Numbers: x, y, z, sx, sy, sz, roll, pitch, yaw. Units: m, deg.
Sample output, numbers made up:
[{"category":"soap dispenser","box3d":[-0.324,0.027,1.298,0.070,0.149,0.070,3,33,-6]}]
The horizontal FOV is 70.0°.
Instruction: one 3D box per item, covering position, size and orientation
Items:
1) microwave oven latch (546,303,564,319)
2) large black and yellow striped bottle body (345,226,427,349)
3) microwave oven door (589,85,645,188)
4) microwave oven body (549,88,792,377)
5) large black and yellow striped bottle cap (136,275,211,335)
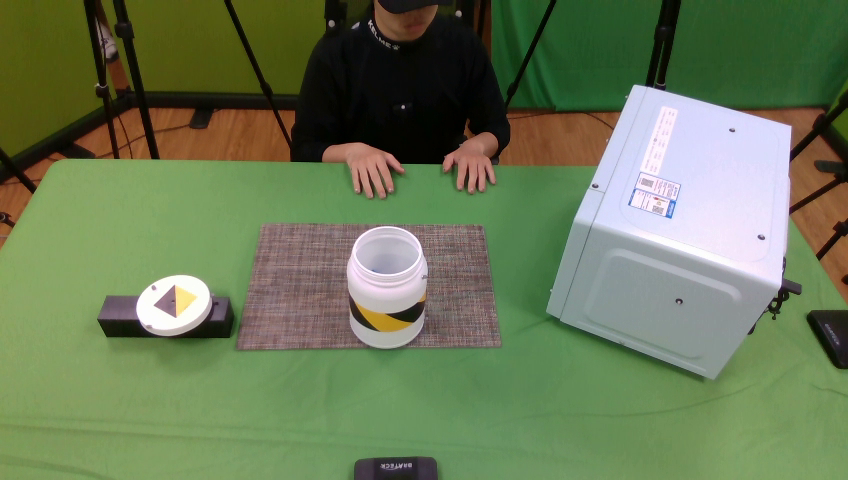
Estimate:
[{"category":"microwave oven latch","box3d":[0.242,0.102,1.081,0.030,0.029,0.079,21,48,17]},{"category":"large black and yellow striped bottle body","box3d":[-0.062,0.078,0.998,0.131,0.185,0.130,2,46,-2]},{"category":"microwave oven door","box3d":[0.342,-0.107,1.149,0.039,0.245,0.354,20,48,15]},{"category":"microwave oven body","box3d":[0.456,-0.028,1.088,0.325,0.261,0.440,20,47,16]},{"category":"large black and yellow striped bottle cap","box3d":[-0.412,0.105,0.999,0.115,0.019,0.114,3,46,-3]}]
